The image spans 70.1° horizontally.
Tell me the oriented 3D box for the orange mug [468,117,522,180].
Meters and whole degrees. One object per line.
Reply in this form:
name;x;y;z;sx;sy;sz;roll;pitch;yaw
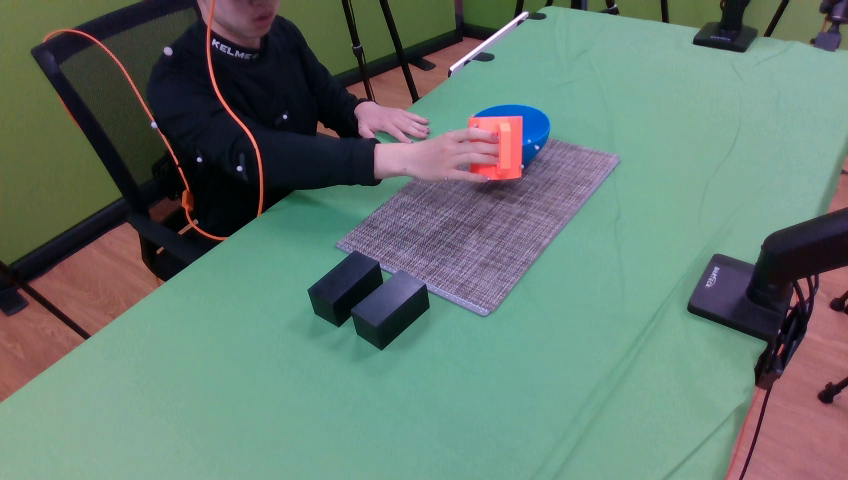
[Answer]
orange mug;0.115;-0.146;0.949;0.084;0.101;0.126;-2;7;-6

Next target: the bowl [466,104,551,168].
bowl;0.155;-0.177;1.105;0.151;0.077;0.150;-4;40;3
